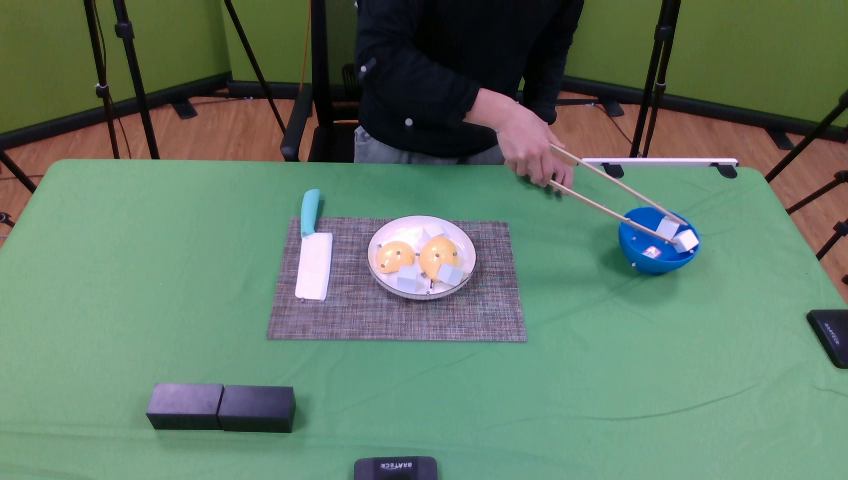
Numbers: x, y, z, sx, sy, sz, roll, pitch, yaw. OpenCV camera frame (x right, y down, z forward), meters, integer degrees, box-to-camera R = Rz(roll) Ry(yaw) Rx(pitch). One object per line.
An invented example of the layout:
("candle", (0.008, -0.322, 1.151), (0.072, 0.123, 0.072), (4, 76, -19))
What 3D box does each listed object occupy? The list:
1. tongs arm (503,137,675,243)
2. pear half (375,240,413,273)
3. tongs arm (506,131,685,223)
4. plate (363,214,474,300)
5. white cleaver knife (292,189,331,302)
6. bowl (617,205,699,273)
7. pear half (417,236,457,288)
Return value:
("tongs arm", (0.308, -0.087, 1.104), (0.386, 0.051, 0.026), (22, 4, -15))
("pear half", (-0.059, 0.026, 1.145), (0.070, 0.031, 0.088), (22, 43, 21))
("tongs arm", (0.320, -0.112, 1.103), (0.389, 0.028, 0.027), (25, 6, -15))
("plate", (-0.010, 0.036, 1.146), (0.208, 0.039, 0.206), (2, 46, -2))
("white cleaver knife", (-0.215, 0.006, 1.178), (0.066, 0.021, 0.284), (5, 49, -12))
("bowl", (0.445, 0.011, 1.182), (0.151, 0.077, 0.150), (2, 46, -2))
("pear half", (0.022, 0.039, 1.127), (0.076, 0.056, 0.109), (5, 50, 7))
